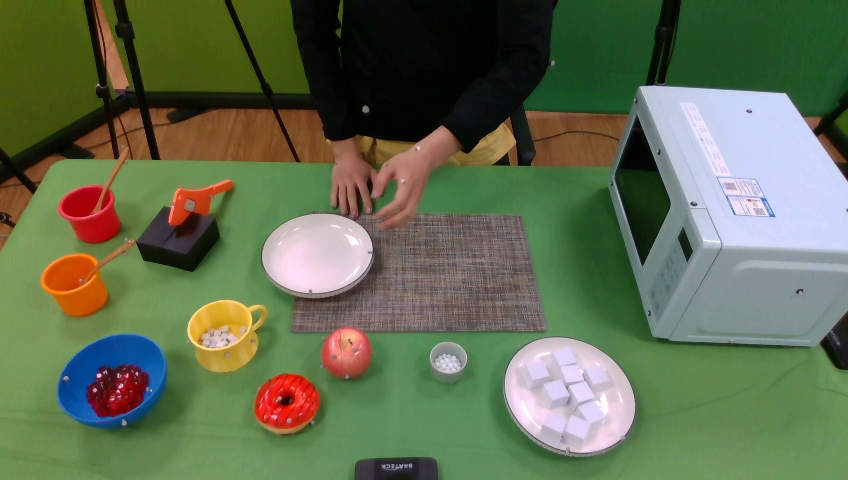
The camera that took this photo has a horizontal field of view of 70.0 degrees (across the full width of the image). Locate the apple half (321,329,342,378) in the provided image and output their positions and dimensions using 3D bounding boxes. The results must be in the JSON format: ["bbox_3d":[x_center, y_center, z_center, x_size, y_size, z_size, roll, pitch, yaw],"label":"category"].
[{"bbox_3d":[-0.149,0.186,0.972,0.033,0.081,0.080,-2,46,-12],"label":"apple half"}]

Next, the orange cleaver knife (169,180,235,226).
[{"bbox_3d":[-0.436,-0.076,1.199,0.012,0.077,0.211,17,17,9],"label":"orange cleaver knife"}]

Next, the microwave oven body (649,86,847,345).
[{"bbox_3d":[0.568,-0.053,1.118,0.326,0.261,0.439,2,45,-1],"label":"microwave oven body"}]

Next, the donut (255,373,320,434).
[{"bbox_3d":[-0.209,0.249,0.928,0.099,0.048,0.098,3,43,-3],"label":"donut"}]

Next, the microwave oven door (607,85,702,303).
[{"bbox_3d":[0.423,-0.094,1.140,0.039,0.245,0.353,2,46,-1],"label":"microwave oven door"}]

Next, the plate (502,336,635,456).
[{"bbox_3d":[0.225,0.248,0.963,0.208,0.039,0.206,2,46,-2],"label":"plate"}]

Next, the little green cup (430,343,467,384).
[{"bbox_3d":[0.039,0.203,0.994,0.061,0.039,0.061,2,46,-2],"label":"little green cup"}]

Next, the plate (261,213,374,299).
[{"bbox_3d":[-0.198,0.032,1.137,0.209,0.038,0.208,2,46,-2],"label":"plate"}]

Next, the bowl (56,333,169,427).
[{"bbox_3d":[-0.456,0.223,0.911,0.151,0.077,0.150,3,46,-2],"label":"bowl"}]

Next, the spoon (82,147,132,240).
[{"bbox_3d":[-0.602,-0.089,1.156,0.041,0.022,0.193,27,95,19],"label":"spoon"}]

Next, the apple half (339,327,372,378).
[{"bbox_3d":[-0.111,0.183,0.980,0.053,0.075,0.080,-2,42,-12],"label":"apple half"}]

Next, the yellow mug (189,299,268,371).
[{"bbox_3d":[-0.316,0.148,1.002,0.131,0.064,0.099,-33,56,-31],"label":"yellow mug"}]

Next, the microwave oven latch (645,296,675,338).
[{"bbox_3d":[0.412,0.134,1.061,0.030,0.029,0.078,3,45,0],"label":"microwave oven latch"}]

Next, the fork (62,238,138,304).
[{"bbox_3d":[-0.547,0.053,1.018,0.207,0.019,0.028,-36,41,23],"label":"fork"}]
